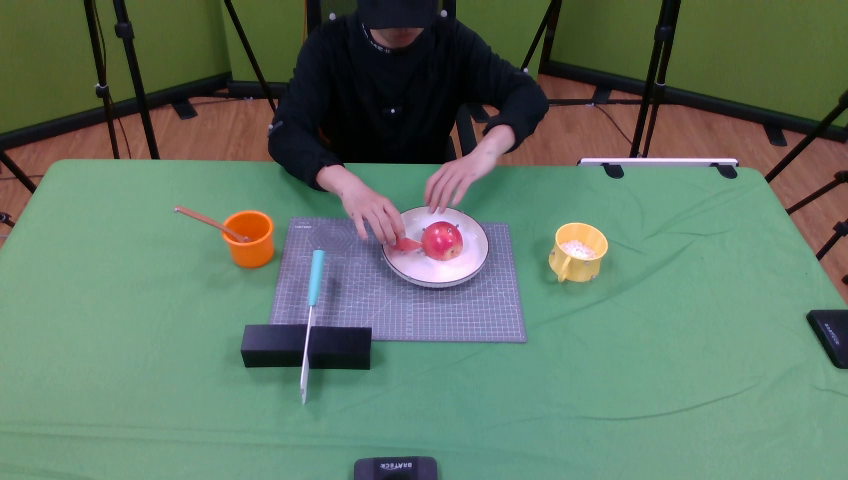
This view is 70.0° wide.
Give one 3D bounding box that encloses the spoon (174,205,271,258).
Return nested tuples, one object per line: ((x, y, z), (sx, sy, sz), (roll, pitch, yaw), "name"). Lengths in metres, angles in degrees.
((-0.362, -0.018, 1.098), (0.021, 0.195, 0.041), (-31, 43, 28), "spoon")

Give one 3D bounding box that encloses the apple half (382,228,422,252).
((-0.044, 0.006, 1.129), (0.081, 0.081, 0.033), (22, 89, 17), "apple half")

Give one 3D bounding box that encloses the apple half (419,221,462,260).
((0.035, -0.005, 1.168), (0.081, 0.053, 0.074), (-17, 50, -23), "apple half")

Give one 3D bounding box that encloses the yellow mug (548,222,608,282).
((0.287, 0.031, 1.159), (0.099, 0.064, 0.130), (27, 51, 21), "yellow mug")

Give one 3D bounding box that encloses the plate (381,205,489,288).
((0.021, 0.015, 1.170), (0.209, 0.038, 0.208), (2, 46, -2), "plate")

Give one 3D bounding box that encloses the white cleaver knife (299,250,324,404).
((-0.194, 0.134, 1.019), (0.021, 0.066, 0.284), (5, 50, -5), "white cleaver knife")
